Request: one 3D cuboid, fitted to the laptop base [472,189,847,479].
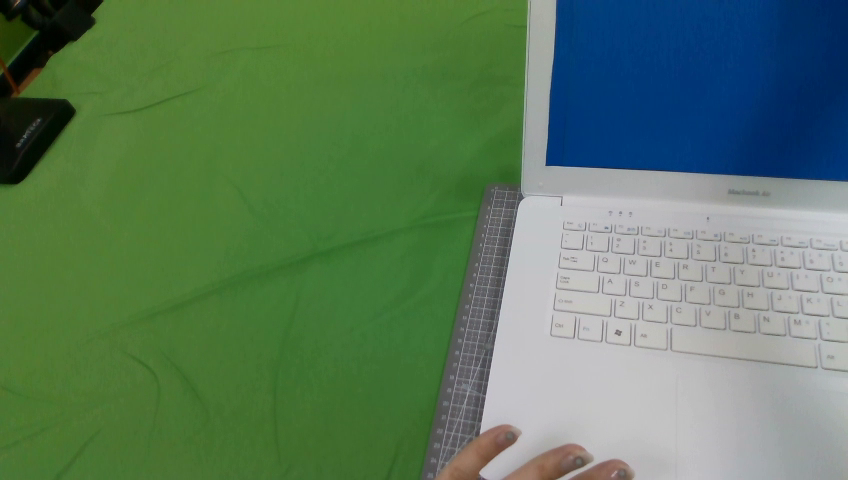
[{"bbox_3d":[0.224,0.072,0.415,0.353,0.023,0.234,5,59,14],"label":"laptop base"}]

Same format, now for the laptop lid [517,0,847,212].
[{"bbox_3d":[0.244,-0.126,0.422,0.355,0.243,0.013,4,28,14],"label":"laptop lid"}]
